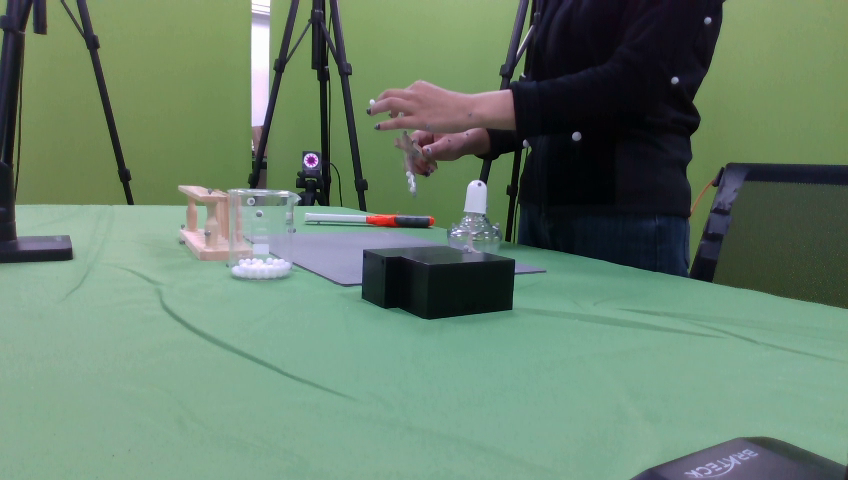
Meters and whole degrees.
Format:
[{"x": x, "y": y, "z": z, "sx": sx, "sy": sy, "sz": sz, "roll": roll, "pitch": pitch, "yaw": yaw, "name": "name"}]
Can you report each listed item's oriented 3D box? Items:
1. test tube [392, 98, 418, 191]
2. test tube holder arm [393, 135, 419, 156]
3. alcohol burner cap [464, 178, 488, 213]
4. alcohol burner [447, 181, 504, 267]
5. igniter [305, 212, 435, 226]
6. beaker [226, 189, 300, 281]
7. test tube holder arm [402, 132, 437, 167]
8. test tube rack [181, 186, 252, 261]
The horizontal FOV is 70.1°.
[{"x": -0.029, "y": -0.150, "z": 0.948, "sx": 0.017, "sy": 0.150, "sz": 0.017, "roll": -11, "pitch": -5, "yaw": -1, "name": "test tube"}, {"x": -0.025, "y": -0.151, "z": 0.972, "sx": 0.010, "sy": 0.015, "sz": 0.088, "roll": -15, "pitch": -11, "yaw": 23, "name": "test tube holder arm"}, {"x": 0.073, "y": -0.060, "z": 0.824, "sx": 0.034, "sy": 0.048, "sz": 0.034, "roll": 6, "pitch": 4, "yaw": 0, "name": "alcohol burner cap"}, {"x": 0.070, "y": -0.024, "z": 0.828, "sx": 0.078, "sy": 0.119, "sz": 0.078, "roll": 0, "pitch": 6, "yaw": 0, "name": "alcohol burner"}, {"x": -0.114, "y": -0.046, "z": 1.296, "sx": 0.277, "sy": 0.025, "sz": 0.057, "roll": 1, "pitch": -2, "yaw": -11, "name": "igniter"}, {"x": -0.184, "y": -0.007, "z": 0.694, "sx": 0.084, "sy": 0.100, "sz": 0.073, "roll": -1, "pitch": 8, "yaw": -29, "name": "beaker"}, {"x": -0.004, "y": -0.148, "z": 1.012, "sx": 0.013, "sy": 0.015, "sz": 0.179, "roll": -13, "pitch": -10, "yaw": 16, "name": "test tube holder arm"}, {"x": -0.312, "y": -0.031, "z": 0.893, "sx": 0.067, "sy": 0.085, "sz": 0.241, "roll": -1, "pitch": 8, "yaw": -27, "name": "test tube rack"}]
